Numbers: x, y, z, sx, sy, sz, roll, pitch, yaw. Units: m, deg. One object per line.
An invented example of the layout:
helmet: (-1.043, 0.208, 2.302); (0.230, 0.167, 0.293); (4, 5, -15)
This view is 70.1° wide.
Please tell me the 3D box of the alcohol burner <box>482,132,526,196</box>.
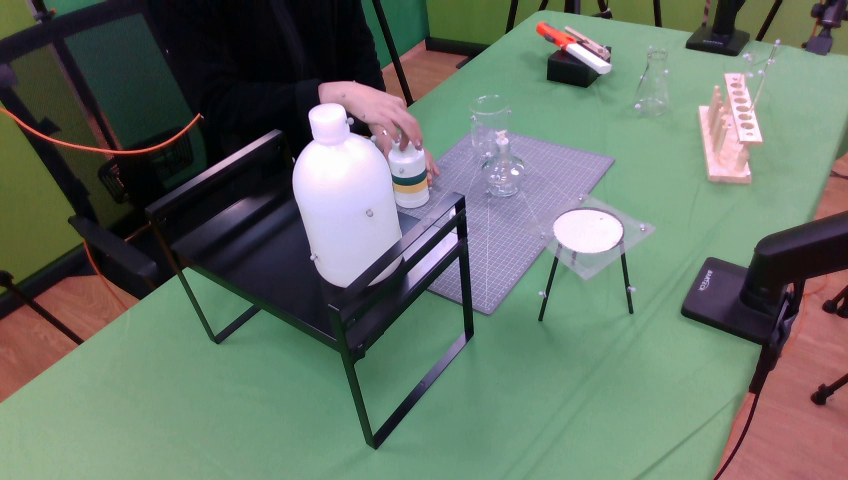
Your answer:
alcohol burner: (0.137, -0.136, 1.042); (0.078, 0.119, 0.077); (-4, 43, 4)

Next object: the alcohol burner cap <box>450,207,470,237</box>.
alcohol burner cap: (0.057, -0.032, 0.987); (0.034, 0.048, 0.033); (-4, 41, 4)

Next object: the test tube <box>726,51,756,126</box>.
test tube: (0.568, -0.268, 1.086); (0.017, 0.151, 0.017); (-4, 46, 4)

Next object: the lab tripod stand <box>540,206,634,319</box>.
lab tripod stand: (0.218, 0.034, 0.821); (0.148, 0.132, 0.147); (-4, 42, 4)

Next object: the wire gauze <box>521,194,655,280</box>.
wire gauze: (0.207, -0.012, 0.772); (0.122, 0.011, 0.124); (-28, 44, -20)

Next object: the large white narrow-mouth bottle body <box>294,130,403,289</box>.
large white narrow-mouth bottle body: (-0.082, -0.047, 0.634); (0.102, 0.195, 0.101); (-4, 40, 3)

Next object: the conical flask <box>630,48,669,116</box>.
conical flask: (0.456, -0.317, 1.205); (0.075, 0.122, 0.075); (-4, 41, 4)

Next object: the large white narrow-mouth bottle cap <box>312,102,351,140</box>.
large white narrow-mouth bottle cap: (-0.089, -0.114, 0.579); (0.038, 0.024, 0.037); (-3, 39, 3)

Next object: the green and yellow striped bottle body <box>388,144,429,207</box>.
green and yellow striped bottle body: (-0.027, -0.121, 1.042); (0.063, 0.120, 0.063); (-4, 40, 4)

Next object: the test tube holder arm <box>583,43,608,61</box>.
test tube holder arm: (0.379, -0.420, 1.341); (0.010, 0.015, 0.087); (-39, 41, 10)

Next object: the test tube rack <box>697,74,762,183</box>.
test tube rack: (0.547, -0.208, 1.095); (0.066, 0.085, 0.242); (5, 42, 15)

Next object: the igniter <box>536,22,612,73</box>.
igniter: (0.330, -0.439, 1.366); (0.057, 0.025, 0.274); (-12, 41, -20)

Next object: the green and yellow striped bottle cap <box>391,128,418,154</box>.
green and yellow striped bottle cap: (-0.033, -0.165, 1.006); (0.045, 0.020, 0.045); (-3, 51, 4)

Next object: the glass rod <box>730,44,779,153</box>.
glass rod: (0.555, -0.234, 1.020); (0.008, 0.200, 0.008); (2, 40, -1)

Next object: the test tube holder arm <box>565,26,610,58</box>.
test tube holder arm: (0.369, -0.450, 1.373); (0.013, 0.015, 0.177); (-39, 41, 10)

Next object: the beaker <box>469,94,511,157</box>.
beaker: (0.124, -0.216, 1.148); (0.074, 0.101, 0.083); (-21, 42, -16)
